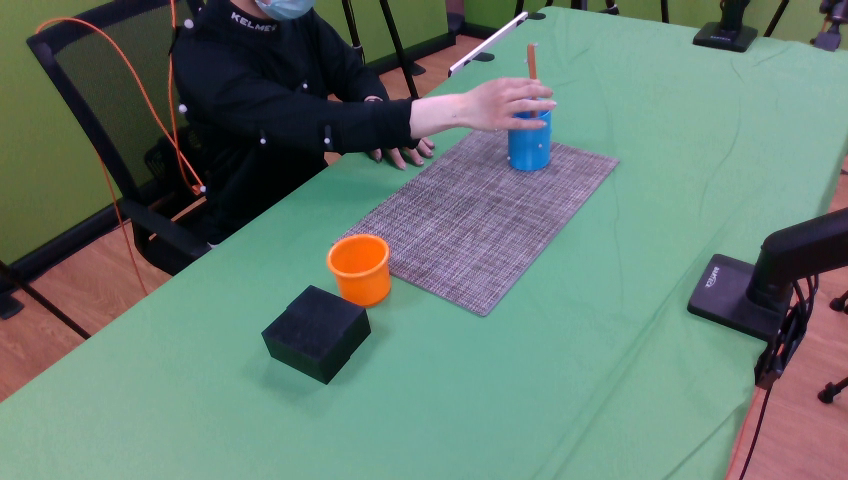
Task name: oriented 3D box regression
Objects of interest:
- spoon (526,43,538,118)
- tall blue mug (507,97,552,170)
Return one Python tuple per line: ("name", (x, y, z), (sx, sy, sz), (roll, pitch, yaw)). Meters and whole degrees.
("spoon", (0.186, -0.244, 1.036), (0.041, 0.194, 0.022), (17, 44, 32))
("tall blue mug", (0.179, -0.198, 1.101), (0.078, 0.108, 0.106), (-37, 49, -28))
